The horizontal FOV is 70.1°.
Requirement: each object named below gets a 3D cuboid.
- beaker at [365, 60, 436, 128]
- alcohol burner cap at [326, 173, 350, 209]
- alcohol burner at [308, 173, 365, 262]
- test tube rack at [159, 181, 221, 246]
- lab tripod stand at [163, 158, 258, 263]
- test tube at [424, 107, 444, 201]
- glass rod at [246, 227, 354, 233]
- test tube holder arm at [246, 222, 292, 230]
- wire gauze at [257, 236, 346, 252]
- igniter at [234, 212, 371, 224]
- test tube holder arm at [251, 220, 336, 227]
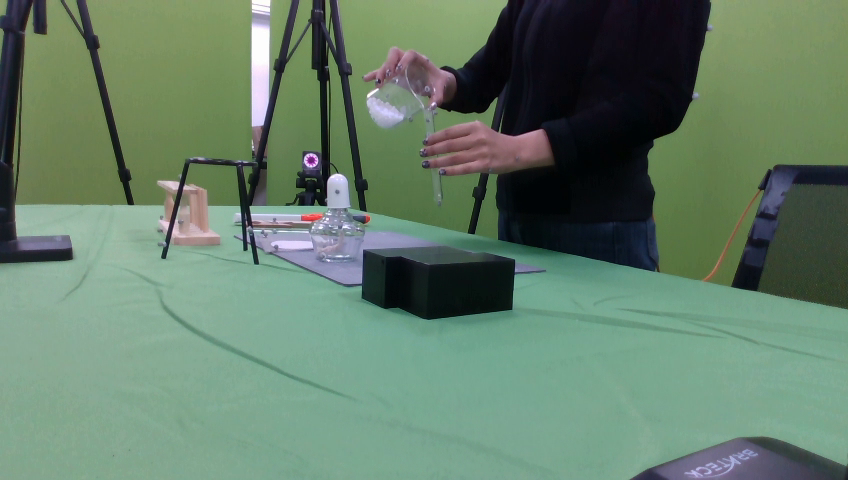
[{"bbox_3d":[-0.039,-0.231,0.987,0.100,0.084,0.074,-23,-11,36],"label":"beaker"},{"bbox_3d":[-0.116,-0.065,0.808,0.034,0.048,0.034,-3,10,1],"label":"alcohol burner cap"},{"bbox_3d":[-0.117,-0.030,0.813,0.078,0.119,0.078,4,9,0],"label":"alcohol burner"},{"bbox_3d":[-0.395,-0.050,1.010,0.067,0.085,0.241,-2,8,-28],"label":"test tube rack"},{"bbox_3d":[-0.265,-0.041,0.802,0.148,0.131,0.148,4,7,0],"label":"lab tripod stand"},{"bbox_3d":[0.015,-0.135,0.944,0.017,0.150,0.017,-6,-7,-1],"label":"test tube"},{"bbox_3d":[-0.224,-0.017,1.109,0.201,0.008,0.008,1,7,-27],"label":"glass rod"},{"bbox_3d":[-0.291,-0.026,1.130,0.088,0.015,0.010,-1,44,-29],"label":"test tube holder arm"},{"bbox_3d":[-0.189,0.005,0.931,0.122,0.011,0.124,1,7,-21],"label":"wire gauze"},{"bbox_3d":[-0.245,-0.045,1.248,0.278,0.025,0.057,-1,-2,-25],"label":"igniter"},{"bbox_3d":[-0.254,-0.031,1.157,0.179,0.015,0.013,-2,45,-31],"label":"test tube holder arm"}]
